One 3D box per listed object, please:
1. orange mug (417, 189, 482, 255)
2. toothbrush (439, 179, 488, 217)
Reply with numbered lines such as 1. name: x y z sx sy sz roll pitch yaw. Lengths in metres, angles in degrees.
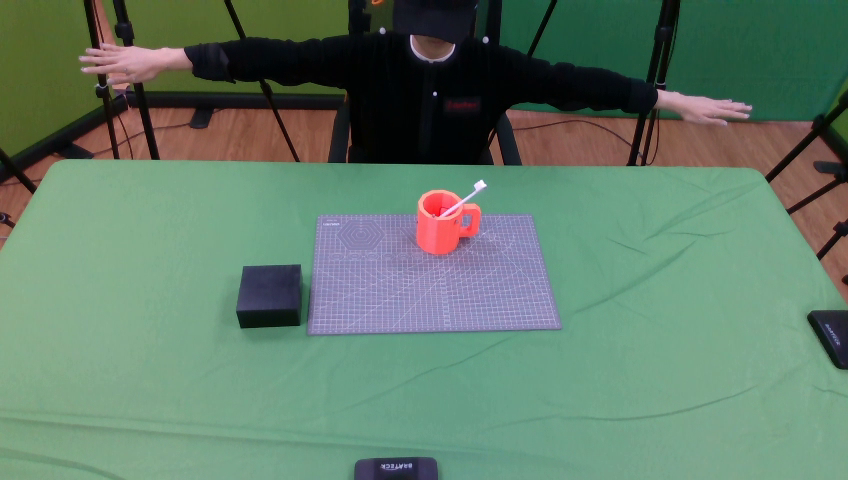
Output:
1. orange mug: 0.049 -0.037 1.176 0.126 0.101 0.083 -7 46 -4
2. toothbrush: 0.053 -0.061 1.146 0.016 0.182 0.014 56 37 5
